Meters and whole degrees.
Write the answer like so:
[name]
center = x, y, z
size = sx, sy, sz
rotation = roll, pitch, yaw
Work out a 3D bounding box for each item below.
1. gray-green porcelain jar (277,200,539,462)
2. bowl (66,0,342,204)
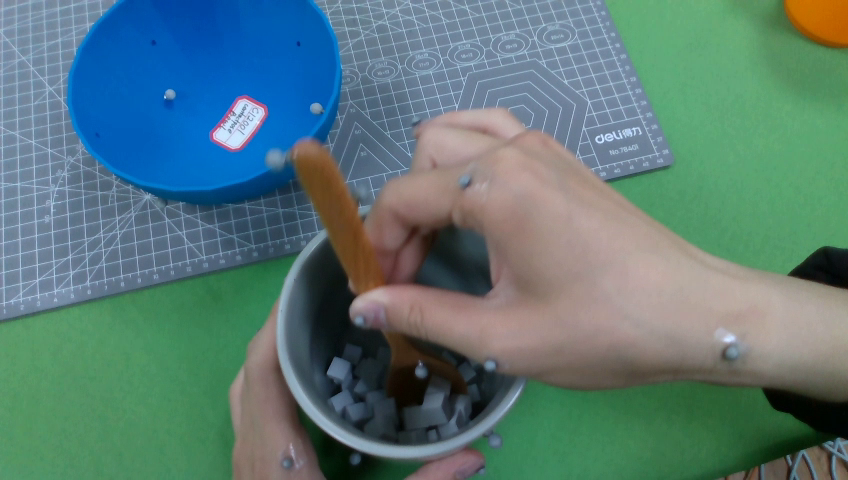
[gray-green porcelain jar]
center = -0.006, 0.053, 0.298
size = 0.106, 0.127, 0.105
rotation = 0, 69, 0
[bowl]
center = -0.121, -0.080, 0.369
size = 0.151, 0.077, 0.150
rotation = 0, 69, 0
